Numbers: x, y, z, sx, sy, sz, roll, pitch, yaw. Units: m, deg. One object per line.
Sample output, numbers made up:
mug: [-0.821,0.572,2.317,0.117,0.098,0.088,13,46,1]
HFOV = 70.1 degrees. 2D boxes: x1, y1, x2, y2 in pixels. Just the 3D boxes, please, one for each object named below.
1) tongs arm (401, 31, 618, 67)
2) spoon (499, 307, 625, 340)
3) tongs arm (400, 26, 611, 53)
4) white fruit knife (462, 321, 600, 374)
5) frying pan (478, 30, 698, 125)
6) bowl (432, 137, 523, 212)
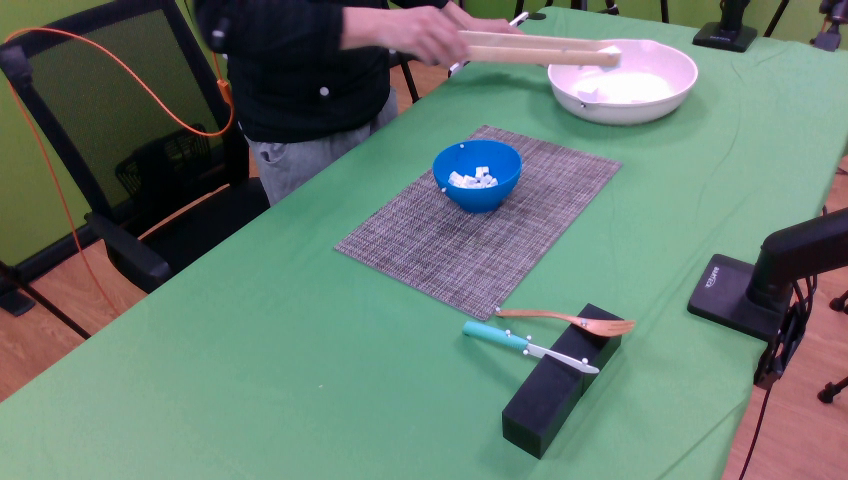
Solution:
tongs arm: [0.152,-0.318,1.014,0.387,0.026,0.050,-4,45,-20]
spoon: [0.169,0.102,0.773,0.042,0.021,0.192,-7,11,-38]
tongs arm: [0.147,-0.333,1.029,0.390,0.028,0.028,-1,48,-17]
white fruit knife: [0.126,0.132,0.752,0.205,0.027,0.016,12,48,42]
frying pan: [0.321,-0.371,1.290,0.484,0.103,0.308,29,51,24]
bowl: [0.091,-0.100,1.022,0.151,0.077,0.150,-4,41,4]
